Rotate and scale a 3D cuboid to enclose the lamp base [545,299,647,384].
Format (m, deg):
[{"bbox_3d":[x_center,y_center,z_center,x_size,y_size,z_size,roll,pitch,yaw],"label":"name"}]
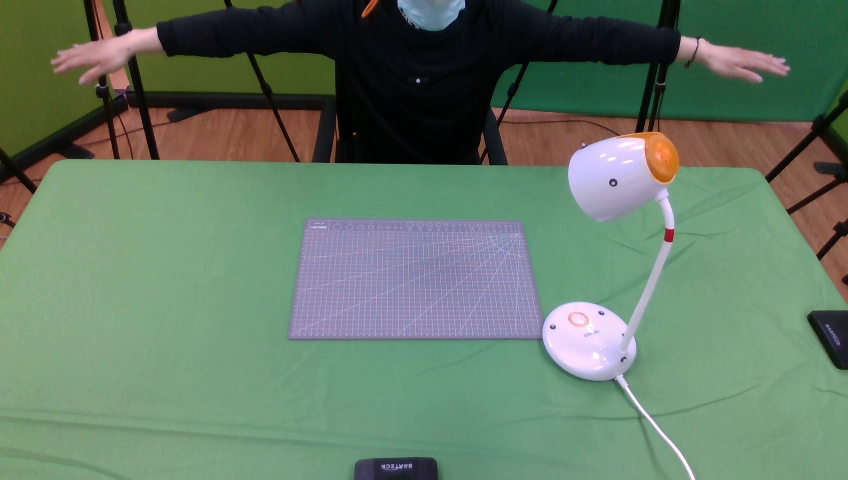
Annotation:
[{"bbox_3d":[0.299,0.124,0.984,0.161,0.181,0.178,-23,55,-23],"label":"lamp base"}]

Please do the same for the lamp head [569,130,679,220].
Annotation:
[{"bbox_3d":[0.272,-0.090,0.798,0.113,0.122,0.112,7,78,-33],"label":"lamp head"}]
